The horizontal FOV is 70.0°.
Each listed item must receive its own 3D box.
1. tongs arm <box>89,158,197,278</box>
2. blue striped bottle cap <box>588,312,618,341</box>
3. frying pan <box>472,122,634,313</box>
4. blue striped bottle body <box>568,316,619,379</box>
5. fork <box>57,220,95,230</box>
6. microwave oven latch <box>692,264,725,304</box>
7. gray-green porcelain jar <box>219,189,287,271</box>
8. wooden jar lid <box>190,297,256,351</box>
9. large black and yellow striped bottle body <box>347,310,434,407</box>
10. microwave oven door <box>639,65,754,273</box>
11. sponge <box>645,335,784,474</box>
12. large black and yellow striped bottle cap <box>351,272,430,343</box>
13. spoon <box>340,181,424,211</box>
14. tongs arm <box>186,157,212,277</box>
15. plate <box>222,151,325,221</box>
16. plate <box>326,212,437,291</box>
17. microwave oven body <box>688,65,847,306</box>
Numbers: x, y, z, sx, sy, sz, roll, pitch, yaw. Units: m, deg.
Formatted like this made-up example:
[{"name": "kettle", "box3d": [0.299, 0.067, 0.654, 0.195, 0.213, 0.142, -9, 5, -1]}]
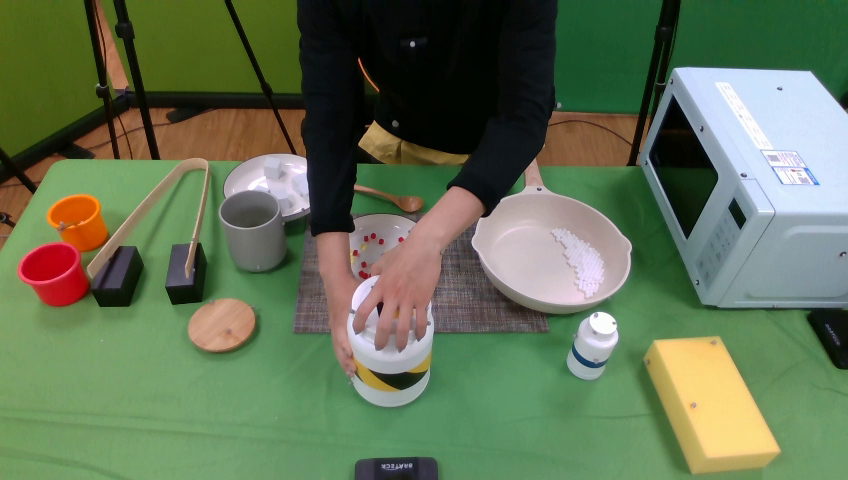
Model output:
[{"name": "tongs arm", "box3d": [-0.530, -0.057, 1.164, 0.028, 0.028, 0.385, 1, 36, 8]}, {"name": "blue striped bottle cap", "box3d": [0.279, 0.134, 0.946, 0.044, 0.021, 0.044, 2, 45, -2]}, {"name": "frying pan", "box3d": [0.236, -0.061, 1.207, 0.307, 0.103, 0.484, 1, 55, -6]}, {"name": "blue striped bottle body", "box3d": [0.277, 0.168, 0.984, 0.063, 0.121, 0.062, 2, 46, -2]}, {"name": "fork", "box3d": [-0.624, -0.027, 1.086, 0.028, 0.207, 0.018, -3, 92, -17]}, {"name": "microwave oven latch", "box3d": [0.522, 0.081, 1.116, 0.030, 0.029, 0.078, 1, 46, -2]}, {"name": "gray-green porcelain jar", "box3d": [-0.309, -0.014, 1.113, 0.106, 0.127, 0.105, 2, 47, -2]}, {"name": "wooden jar lid", "box3d": [-0.342, 0.145, 1.033, 0.108, 0.021, 0.107, 2, 45, -2]}, {"name": "large black and yellow striped bottle body", "box3d": [-0.051, 0.156, 0.930, 0.131, 0.185, 0.130, 2, 47, -2]}, {"name": "microwave oven door", "box3d": [0.522, -0.147, 1.192, 0.039, 0.245, 0.353, 0, 47, -3]}, {"name": "sponge", "box3d": [0.449, 0.253, 0.956, 0.118, 0.061, 0.205, -4, 46, -7]}, {"name": "large black and yellow striped bottle cap", "box3d": [-0.048, 0.094, 0.865, 0.115, 0.019, 0.114, 2, 49, -3]}, {"name": "spoon", "box3d": [-0.090, -0.100, 1.282, 0.193, 0.022, 0.041, 18, 64, 13]}, {"name": "tongs arm", "box3d": [-0.445, -0.057, 1.168, 0.051, 0.026, 0.382, -5, 37, -6]}, {"name": "plate", "box3d": [-0.310, -0.106, 1.263, 0.208, 0.039, 0.206, 2, 47, -2]}, {"name": "plate", "box3d": [-0.080, 0.030, 1.143, 0.209, 0.038, 0.208, 2, 46, -2]}, {"name": "microwave oven body", "box3d": [0.669, -0.111, 1.176, 0.326, 0.261, 0.439, 0, 46, -3]}]
